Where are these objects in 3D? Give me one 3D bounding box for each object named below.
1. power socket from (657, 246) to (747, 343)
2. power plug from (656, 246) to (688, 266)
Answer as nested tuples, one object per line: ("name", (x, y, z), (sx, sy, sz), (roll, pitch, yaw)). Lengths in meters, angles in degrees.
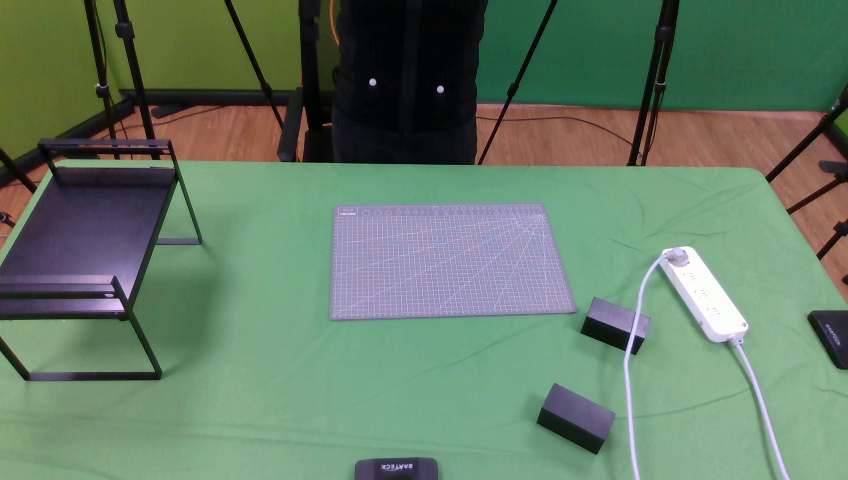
("power socket", (0.516, 0.096, 1.135), (0.072, 0.033, 0.225), (-8, 48, -11))
("power plug", (0.471, 0.034, 1.165), (0.072, 0.053, 0.035), (-2, 46, -2))
